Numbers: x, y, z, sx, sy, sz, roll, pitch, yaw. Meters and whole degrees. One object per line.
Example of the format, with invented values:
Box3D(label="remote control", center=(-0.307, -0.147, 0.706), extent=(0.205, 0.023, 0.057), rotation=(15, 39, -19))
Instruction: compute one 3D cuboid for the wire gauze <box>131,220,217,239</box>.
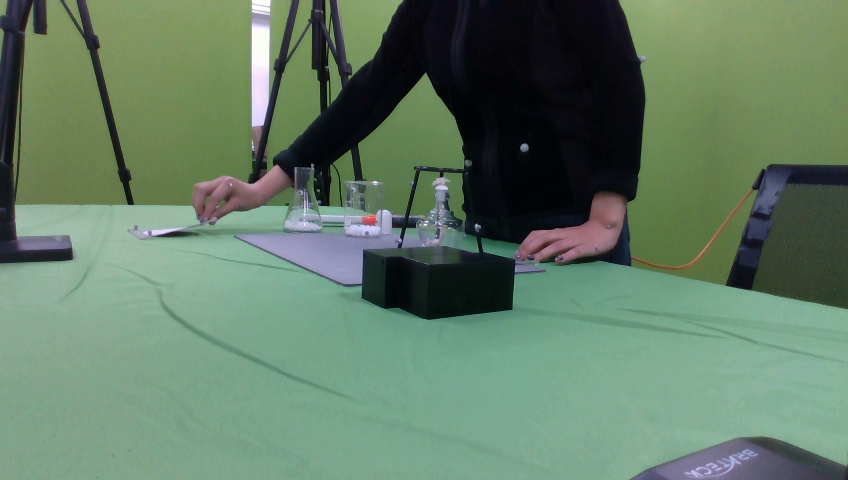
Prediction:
Box3D(label="wire gauze", center=(-0.423, -0.020, 1.023), extent=(0.122, 0.011, 0.124), rotation=(-12, 9, -33))

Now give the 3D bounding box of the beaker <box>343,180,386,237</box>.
Box3D(label="beaker", center=(-0.111, -0.058, 1.090), extent=(0.083, 0.100, 0.074), rotation=(7, 8, 34))

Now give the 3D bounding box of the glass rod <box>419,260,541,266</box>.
Box3D(label="glass rod", center=(0.080, 0.031, 0.807), extent=(0.201, 0.008, 0.008), rotation=(1, 6, -32))

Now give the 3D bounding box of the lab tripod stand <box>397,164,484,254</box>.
Box3D(label="lab tripod stand", center=(0.029, -0.049, 0.930), extent=(0.148, 0.131, 0.148), rotation=(4, 6, 0))

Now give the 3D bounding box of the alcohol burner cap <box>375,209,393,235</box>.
Box3D(label="alcohol burner cap", center=(-0.076, -0.035, 1.150), extent=(0.034, 0.048, 0.034), rotation=(2, 7, 0))

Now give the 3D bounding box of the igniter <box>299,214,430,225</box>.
Box3D(label="igniter", center=(-0.123, -0.044, 1.281), extent=(0.278, 0.025, 0.057), rotation=(0, -2, -19))

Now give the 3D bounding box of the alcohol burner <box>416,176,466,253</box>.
Box3D(label="alcohol burner", center=(0.027, -0.039, 0.934), extent=(0.078, 0.119, 0.078), rotation=(2, 9, 0))

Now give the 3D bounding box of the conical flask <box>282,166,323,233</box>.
Box3D(label="conical flask", center=(-0.225, -0.076, 1.129), extent=(0.075, 0.122, 0.075), rotation=(2, 8, 0))
